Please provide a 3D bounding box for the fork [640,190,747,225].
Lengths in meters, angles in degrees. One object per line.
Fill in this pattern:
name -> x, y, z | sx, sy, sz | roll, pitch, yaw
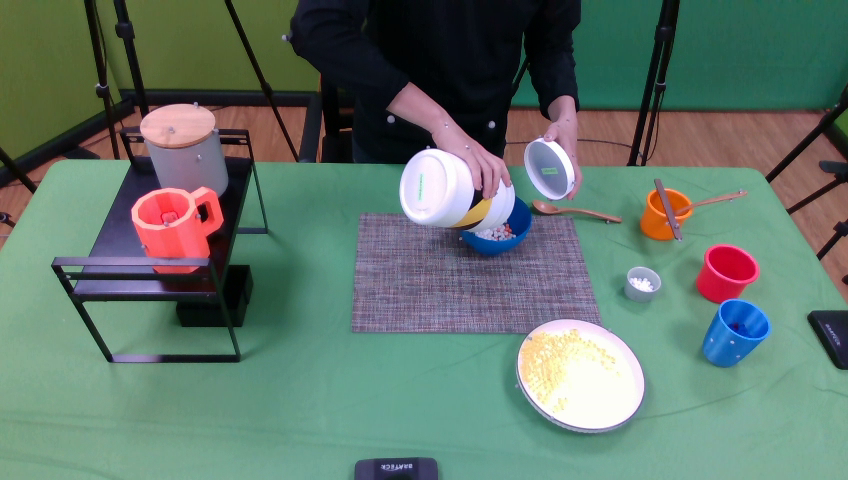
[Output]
fork -> 0.533, -0.065, 1.211 | 0.207, 0.019, 0.028 | -22, 28, 39

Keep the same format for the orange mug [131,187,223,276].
orange mug -> -0.354, -0.022, 0.888 | 0.083, 0.101, 0.126 | 31, 55, 24

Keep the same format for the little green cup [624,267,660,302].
little green cup -> 0.406, 0.084, 1.135 | 0.061, 0.039, 0.061 | 3, 46, -3

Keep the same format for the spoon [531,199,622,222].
spoon -> 0.322, -0.060, 1.279 | 0.194, 0.022, 0.041 | 8, 32, 4

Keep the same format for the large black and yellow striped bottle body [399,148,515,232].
large black and yellow striped bottle body -> 0.062, -0.083, 1.062 | 0.185, 0.131, 0.130 | 6, 36, -44

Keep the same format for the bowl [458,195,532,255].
bowl -> 0.130, -0.025, 1.186 | 0.151, 0.077, 0.150 | 2, 46, -2

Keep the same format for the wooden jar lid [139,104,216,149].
wooden jar lid -> -0.372, -0.169, 0.920 | 0.108, 0.021, 0.107 | 4, 44, -4

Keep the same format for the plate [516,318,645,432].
plate -> 0.253, 0.221, 0.992 | 0.209, 0.038, 0.208 | 2, 46, -2

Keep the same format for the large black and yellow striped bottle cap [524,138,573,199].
large black and yellow striped bottle cap -> 0.222, -0.128, 1.087 | 0.019, 0.115, 0.114 | -29, 54, -19

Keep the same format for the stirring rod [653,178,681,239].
stirring rod -> 0.481, -0.065, 1.204 | 0.014, 0.006, 0.175 | 2, 46, -1

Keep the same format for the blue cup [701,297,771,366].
blue cup -> 0.519, 0.162, 1.025 | 0.093, 0.101, 0.092 | 3, 45, -3

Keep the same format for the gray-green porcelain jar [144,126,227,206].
gray-green porcelain jar -> -0.375, -0.126, 0.967 | 0.106, 0.127, 0.105 | 2, 46, -2
